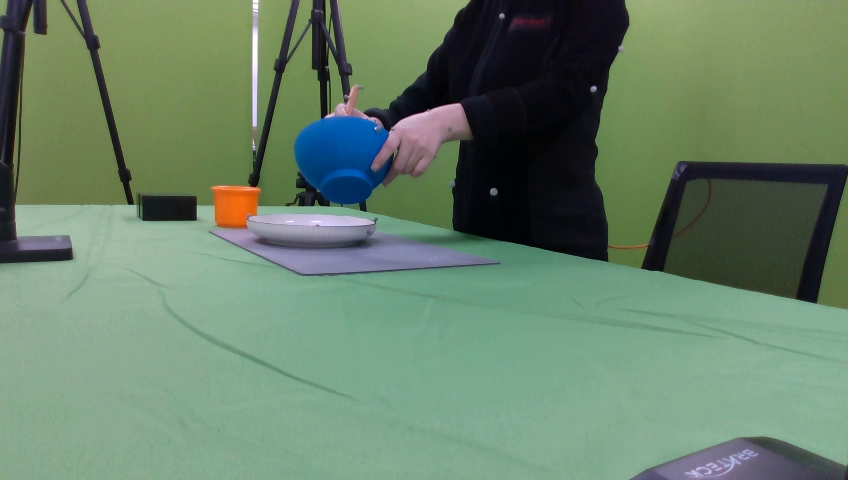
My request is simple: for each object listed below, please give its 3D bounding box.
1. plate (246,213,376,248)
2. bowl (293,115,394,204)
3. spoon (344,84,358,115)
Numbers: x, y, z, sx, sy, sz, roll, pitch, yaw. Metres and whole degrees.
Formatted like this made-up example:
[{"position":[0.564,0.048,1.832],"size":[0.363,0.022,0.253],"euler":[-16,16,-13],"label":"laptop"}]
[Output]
[{"position":[-0.184,-0.017,0.994],"size":[0.209,0.038,0.209],"euler":[3,8,0],"label":"plate"},{"position":[-0.116,-0.105,0.888],"size":[0.151,0.076,0.151],"euler":[-5,-29,-3],"label":"bowl"},{"position":[-0.131,-0.175,0.952],"size":[0.041,0.193,0.022],"euler":[-3,-37,22],"label":"spoon"}]
